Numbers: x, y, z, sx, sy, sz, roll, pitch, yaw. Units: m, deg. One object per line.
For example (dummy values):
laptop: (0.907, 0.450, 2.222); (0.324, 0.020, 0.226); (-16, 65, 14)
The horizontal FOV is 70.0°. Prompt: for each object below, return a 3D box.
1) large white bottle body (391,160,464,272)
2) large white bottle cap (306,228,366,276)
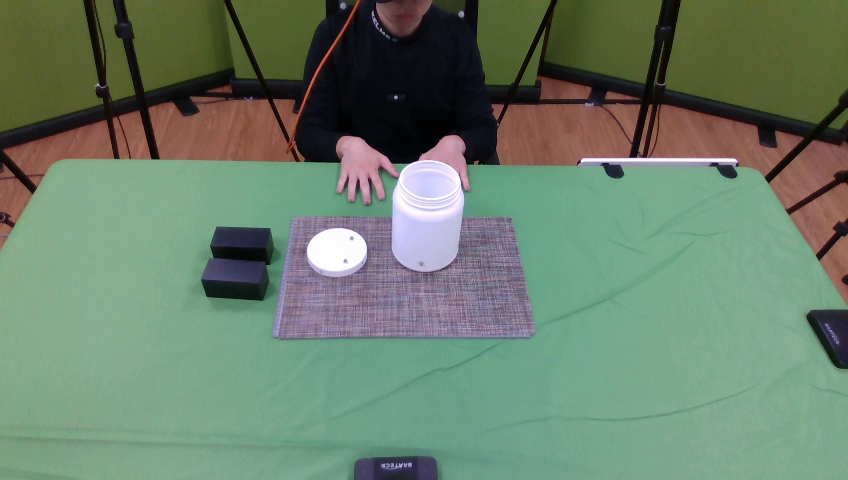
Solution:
large white bottle body: (0.005, -0.045, 1.124); (0.131, 0.185, 0.130); (2, 46, -2)
large white bottle cap: (-0.168, 0.022, 1.162); (0.115, 0.018, 0.114); (2, 46, -2)
